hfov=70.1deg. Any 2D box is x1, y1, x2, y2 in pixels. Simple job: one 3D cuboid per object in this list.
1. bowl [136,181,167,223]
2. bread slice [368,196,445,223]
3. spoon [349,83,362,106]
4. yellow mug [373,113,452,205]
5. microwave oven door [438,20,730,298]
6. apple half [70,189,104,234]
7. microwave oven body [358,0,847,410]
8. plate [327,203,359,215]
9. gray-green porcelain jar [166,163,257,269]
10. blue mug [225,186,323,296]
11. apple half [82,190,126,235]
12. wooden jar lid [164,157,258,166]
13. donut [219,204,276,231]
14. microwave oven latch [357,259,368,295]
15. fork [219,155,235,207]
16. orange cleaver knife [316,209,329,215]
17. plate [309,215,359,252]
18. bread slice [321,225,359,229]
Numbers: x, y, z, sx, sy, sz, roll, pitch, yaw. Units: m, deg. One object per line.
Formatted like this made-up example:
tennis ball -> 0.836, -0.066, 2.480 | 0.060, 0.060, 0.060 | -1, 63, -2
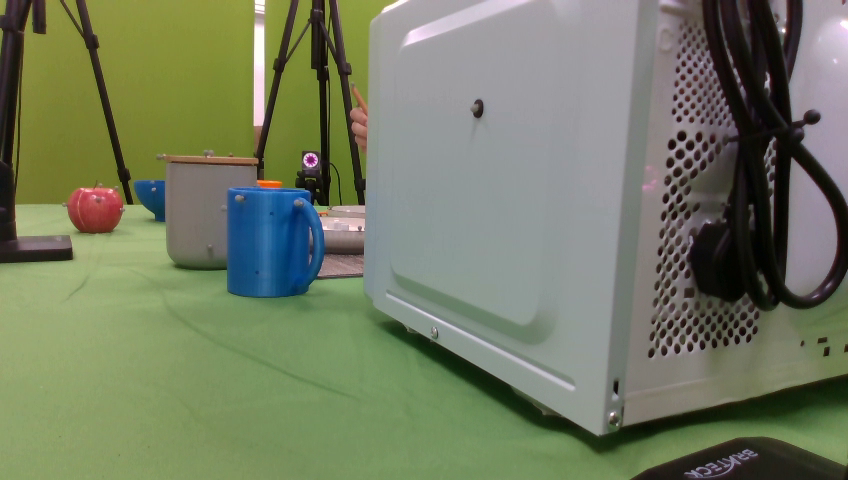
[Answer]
bowl -> -0.497, -0.076, 1.221 | 0.151, 0.077, 0.151 | 2, 8, 0
bread slice -> -0.040, -0.057, 1.142 | 0.107, 0.018, 0.133 | -8, -8, -40
spoon -> -0.071, -0.163, 0.919 | 0.021, 0.193, 0.042 | -24, -19, -1
yellow mug -> -0.011, -0.122, 0.870 | 0.064, 0.130, 0.100 | 37, 34, 21
microwave oven door -> 0.181, -0.076, 0.618 | 0.358, 0.243, 0.039 | -2, 8, -28
apple half -> -0.552, -0.048, 1.010 | 0.053, 0.074, 0.081 | -1, 10, 26
microwave oven body -> 0.210, -0.051, 0.471 | 0.444, 0.260, 0.324 | -1, 7, -28
plate -> -0.102, -0.053, 1.299 | 0.209, 0.038, 0.209 | 2, 8, 0
gray-green porcelain jar -> -0.263, -0.031, 0.754 | 0.106, 0.126, 0.106 | 2, 7, 0
blue mug -> -0.148, 0.000, 0.618 | 0.116, 0.106, 0.083 | 7, 9, 33
apple half -> -0.516, -0.046, 0.994 | 0.032, 0.081, 0.081 | 0, 6, 26
wooden jar lid -> -0.261, -0.093, 0.746 | 0.108, 0.020, 0.108 | 1, 9, 0
donut -> -0.316, -0.039, 1.083 | 0.099, 0.048, 0.099 | 3, 7, 0
microwave oven latch -> -0.019, 0.031, 0.529 | 0.079, 0.029, 0.030 | -1, 7, -26
fork -> -0.459, -0.134, 1.415 | 0.028, 0.018, 0.207 | -1, -34, -24
orange cleaver knife -> -0.259, -0.064, 1.423 | 0.212, 0.012, 0.077 | -4, 3, -30
plate -> -0.130, -0.011, 0.945 | 0.208, 0.039, 0.207 | 2, 8, 0
bread slice -> -0.124, -0.009, 0.938 | 0.131, 0.019, 0.105 | 5, 8, 32
